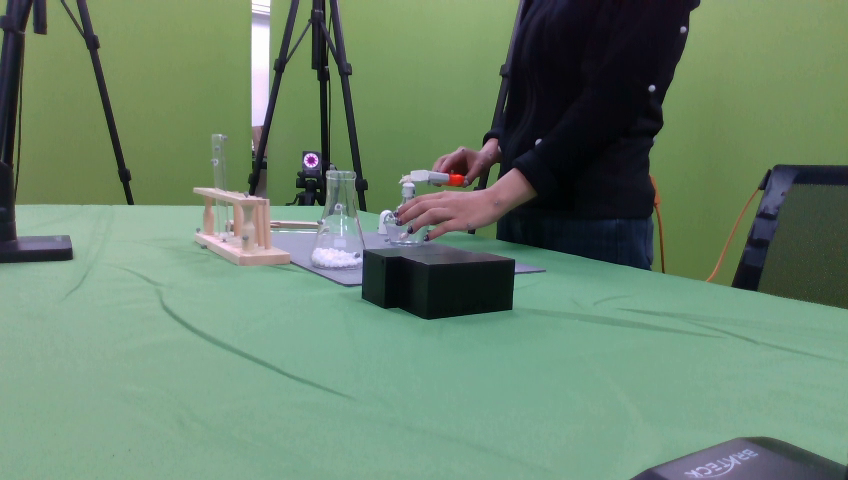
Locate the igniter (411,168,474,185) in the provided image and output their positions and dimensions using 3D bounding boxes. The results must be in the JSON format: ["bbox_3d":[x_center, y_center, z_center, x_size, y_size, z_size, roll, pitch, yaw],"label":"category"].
[{"bbox_3d":[0.040,-0.117,1.129,0.057,0.025,0.277,0,3,20],"label":"igniter"}]

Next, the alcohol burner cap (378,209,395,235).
[{"bbox_3d":[-0.070,-0.035,1.144,0.034,0.048,0.034,2,8,0],"label":"alcohol burner cap"}]

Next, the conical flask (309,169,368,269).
[{"bbox_3d":[-0.107,-0.028,0.762,0.075,0.122,0.075,2,7,0],"label":"conical flask"}]

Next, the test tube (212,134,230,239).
[{"bbox_3d":[-0.290,-0.076,0.863,0.017,0.150,0.017,-2,6,0],"label":"test tube"}]

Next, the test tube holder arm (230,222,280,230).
[{"bbox_3d":[-0.312,-0.025,1.118,0.088,0.015,0.010,-1,42,-30],"label":"test tube holder arm"}]

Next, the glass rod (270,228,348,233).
[{"bbox_3d":[-0.234,-0.017,1.105,0.201,0.008,0.008,1,7,-26],"label":"glass rod"}]

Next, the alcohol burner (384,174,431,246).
[{"bbox_3d":[-0.026,-0.049,0.993,0.078,0.119,0.078,2,9,0],"label":"alcohol burner"}]

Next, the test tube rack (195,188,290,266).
[{"bbox_3d":[-0.266,-0.025,0.864,0.067,0.085,0.241,-2,9,-33],"label":"test tube rack"}]

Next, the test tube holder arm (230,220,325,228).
[{"bbox_3d":[-0.275,-0.029,1.144,0.179,0.015,0.013,-1,43,-30],"label":"test tube holder arm"}]
